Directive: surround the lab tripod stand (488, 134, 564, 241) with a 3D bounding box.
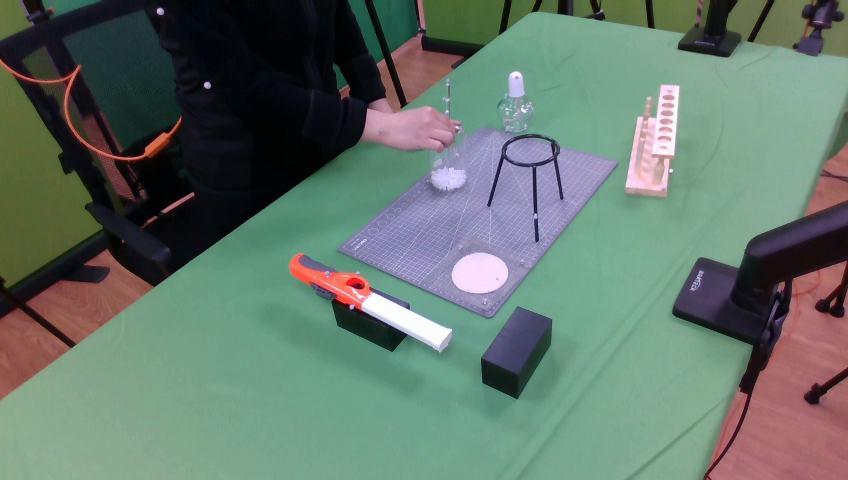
[{"bbox_3d":[0.168,-0.092,0.972,0.148,0.132,0.147,-5,41,5],"label":"lab tripod stand"}]

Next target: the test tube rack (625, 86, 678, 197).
[{"bbox_3d":[0.412,-0.184,1.088,0.066,0.085,0.242,9,43,18],"label":"test tube rack"}]

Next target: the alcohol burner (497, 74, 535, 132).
[{"bbox_3d":[0.184,-0.278,1.210,0.078,0.119,0.077,-3,42,3],"label":"alcohol burner"}]

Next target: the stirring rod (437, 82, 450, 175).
[{"bbox_3d":[0.032,-0.185,1.024,0.006,0.176,0.014,17,42,14],"label":"stirring rod"}]

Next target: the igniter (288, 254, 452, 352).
[{"bbox_3d":[-0.083,0.079,0.818,0.274,0.025,0.057,23,46,27],"label":"igniter"}]

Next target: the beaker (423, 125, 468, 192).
[{"bbox_3d":[0.042,-0.144,1.078,0.073,0.100,0.084,28,51,34],"label":"beaker"}]

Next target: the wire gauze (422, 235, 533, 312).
[{"bbox_3d":[0.081,0.049,0.914,0.120,0.011,0.125,26,52,32],"label":"wire gauze"}]

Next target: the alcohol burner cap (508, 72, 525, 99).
[{"bbox_3d":[0.181,-0.306,1.186,0.034,0.048,0.033,-7,39,6],"label":"alcohol burner cap"}]
